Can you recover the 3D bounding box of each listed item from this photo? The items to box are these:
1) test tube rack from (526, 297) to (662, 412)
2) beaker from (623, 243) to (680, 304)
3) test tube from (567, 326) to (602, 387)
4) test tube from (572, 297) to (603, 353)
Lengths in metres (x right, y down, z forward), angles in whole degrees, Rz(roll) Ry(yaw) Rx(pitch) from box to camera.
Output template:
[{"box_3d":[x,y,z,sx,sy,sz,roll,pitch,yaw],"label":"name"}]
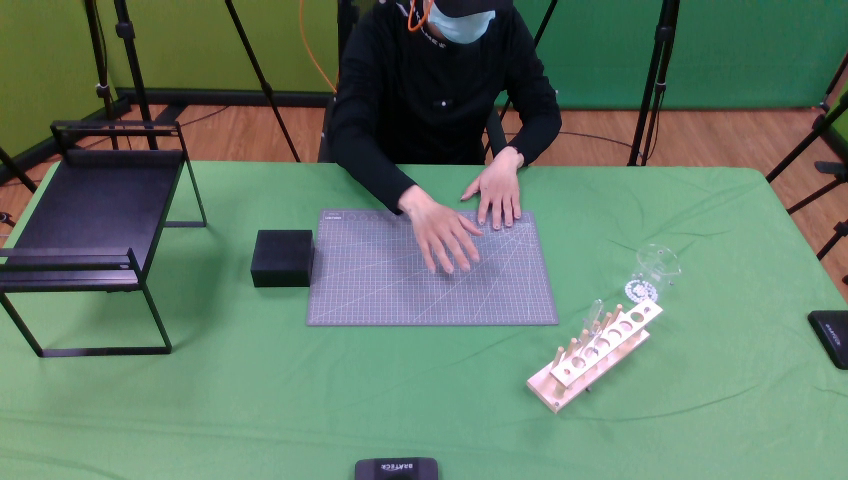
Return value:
[{"box_3d":[0.284,0.176,1.007,0.242,0.085,0.066,-29,54,-27],"label":"test tube rack"},{"box_3d":[0.414,0.067,1.111,0.083,0.101,0.074,31,52,22],"label":"beaker"},{"box_3d":[0.243,0.182,0.930,0.017,0.151,0.017,5,45,-5],"label":"test tube"},{"box_3d":[0.263,0.141,0.977,0.017,0.151,0.017,2,47,-2],"label":"test tube"}]
